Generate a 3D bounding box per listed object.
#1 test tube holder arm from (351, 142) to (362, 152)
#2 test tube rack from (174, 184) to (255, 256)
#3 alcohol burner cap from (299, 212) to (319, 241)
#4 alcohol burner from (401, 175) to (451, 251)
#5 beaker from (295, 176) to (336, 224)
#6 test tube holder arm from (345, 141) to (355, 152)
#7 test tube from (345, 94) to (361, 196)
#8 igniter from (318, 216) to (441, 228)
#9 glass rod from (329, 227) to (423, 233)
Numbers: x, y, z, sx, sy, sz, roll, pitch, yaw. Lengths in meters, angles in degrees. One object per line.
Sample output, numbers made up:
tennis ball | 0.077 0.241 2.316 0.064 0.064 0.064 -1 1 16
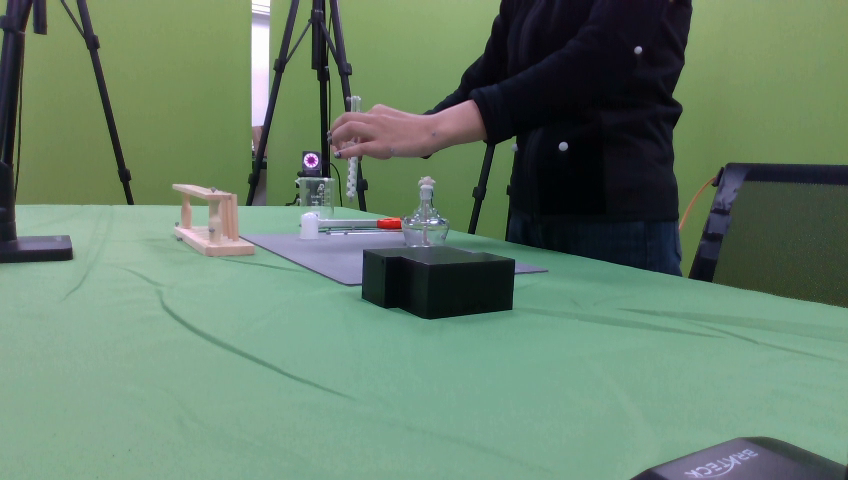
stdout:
test tube holder arm | -0.105 -0.142 0.923 0.010 0.015 0.087 8 7 -14
test tube rack | -0.327 -0.036 0.928 0.067 0.085 0.241 -2 9 -32
alcohol burner cap | -0.195 -0.024 1.025 0.034 0.048 0.034 3 7 0
alcohol burner | 0.003 -0.042 0.947 0.078 0.119 0.078 1 9 0
beaker | -0.224 -0.080 1.247 0.084 0.100 0.073 -1 8 -18
test tube holder arm | -0.116 -0.149 0.966 0.013 0.015 0.178 9 7 -7
test tube | -0.105 -0.141 0.899 0.017 0.150 0.017 4 2 0
igniter | -0.090 -0.036 1.223 0.278 0.025 0.057 -2 -1 -31
glass rod | -0.087 -0.019 1.148 0.201 0.008 0.008 -3 8 -32
